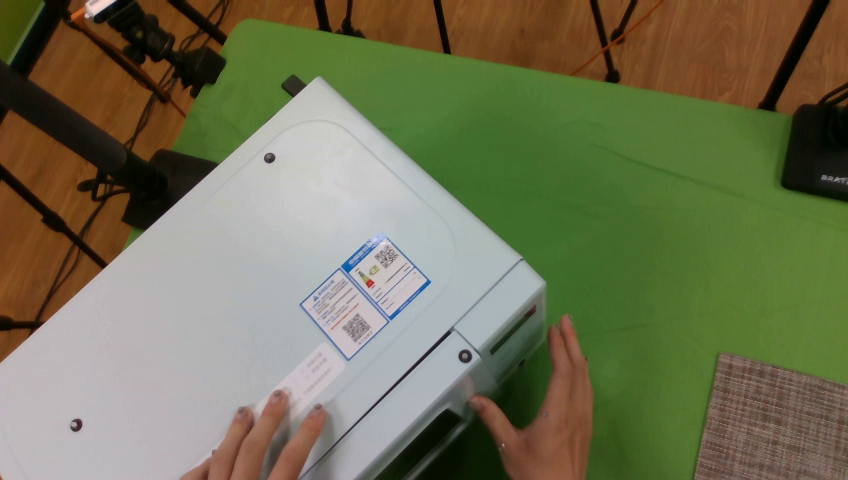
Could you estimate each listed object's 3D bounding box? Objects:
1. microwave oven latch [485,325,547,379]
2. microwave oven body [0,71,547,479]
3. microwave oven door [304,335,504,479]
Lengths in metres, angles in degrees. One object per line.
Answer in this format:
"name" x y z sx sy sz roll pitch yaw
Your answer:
"microwave oven latch" 0.103 0.118 0.679 0.079 0.030 0.030 -43 69 -5
"microwave oven body" -0.142 0.113 0.623 0.441 0.262 0.323 -44 69 -5
"microwave oven door" -0.072 0.236 0.561 0.355 0.246 0.039 -43 68 -6
